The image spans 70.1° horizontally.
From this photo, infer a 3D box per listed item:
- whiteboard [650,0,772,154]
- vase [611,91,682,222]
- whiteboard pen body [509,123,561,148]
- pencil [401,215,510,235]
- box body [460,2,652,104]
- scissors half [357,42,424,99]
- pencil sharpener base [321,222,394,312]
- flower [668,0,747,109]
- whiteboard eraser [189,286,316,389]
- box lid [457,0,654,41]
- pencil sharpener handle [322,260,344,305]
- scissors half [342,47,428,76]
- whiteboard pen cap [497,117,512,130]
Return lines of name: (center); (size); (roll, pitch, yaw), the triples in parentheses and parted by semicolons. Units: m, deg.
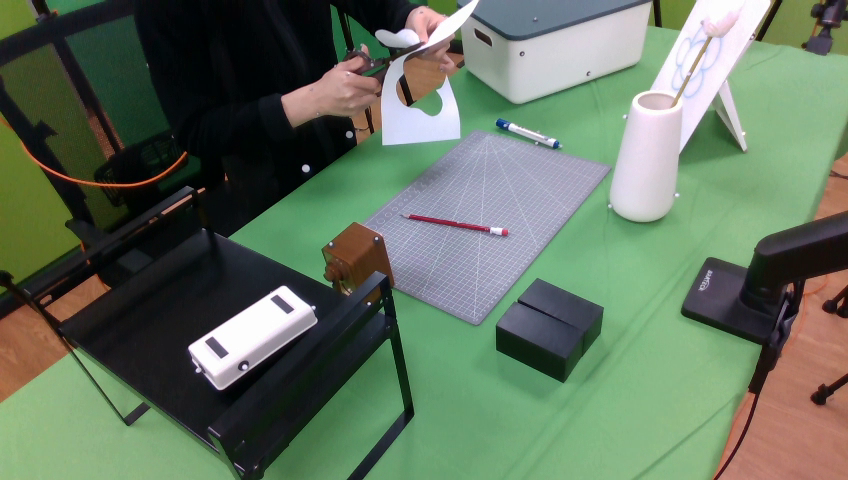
whiteboard: (0.543, -0.298, 1.076); (0.144, 0.305, 0.216); (12, 40, -7)
vase: (0.348, -0.125, 0.935); (0.098, 0.201, 0.097); (-3, 40, 3)
whiteboard pen body: (0.209, -0.211, 1.196); (0.139, 0.017, 0.017); (30, 52, 33)
pencil: (0.049, -0.027, 1.007); (0.193, 0.012, 0.012); (10, 43, 21)
box body: (0.291, -0.465, 1.371); (0.365, 0.161, 0.252); (-22, 42, -16)
scissors half: (-0.050, -0.259, 0.923); (0.174, 0.040, 0.013); (-25, 21, 53)
pencil sharpener base: (-0.096, 0.041, 0.873); (0.061, 0.107, 0.077); (26, 54, 32)
flower: (0.354, -0.187, 0.879); (0.038, 0.362, 0.044); (30, 48, 14)
whiteboard eraser: (-0.166, 0.096, 0.593); (0.113, 0.042, 0.055); (-36, 47, -29)
box lid: (0.285, -0.522, 1.323); (0.373, 0.015, 0.261); (-22, 43, -16)
pencil sharpener handle: (-0.131, 0.062, 0.839); (0.035, 0.068, 0.031); (29, 56, 27)
scissors half: (-0.062, -0.275, 0.915); (0.174, 0.040, 0.013); (4, 47, 38)
whiteboard pen cap: (0.165, -0.235, 1.227); (0.033, 0.018, 0.018); (32, 53, 30)
